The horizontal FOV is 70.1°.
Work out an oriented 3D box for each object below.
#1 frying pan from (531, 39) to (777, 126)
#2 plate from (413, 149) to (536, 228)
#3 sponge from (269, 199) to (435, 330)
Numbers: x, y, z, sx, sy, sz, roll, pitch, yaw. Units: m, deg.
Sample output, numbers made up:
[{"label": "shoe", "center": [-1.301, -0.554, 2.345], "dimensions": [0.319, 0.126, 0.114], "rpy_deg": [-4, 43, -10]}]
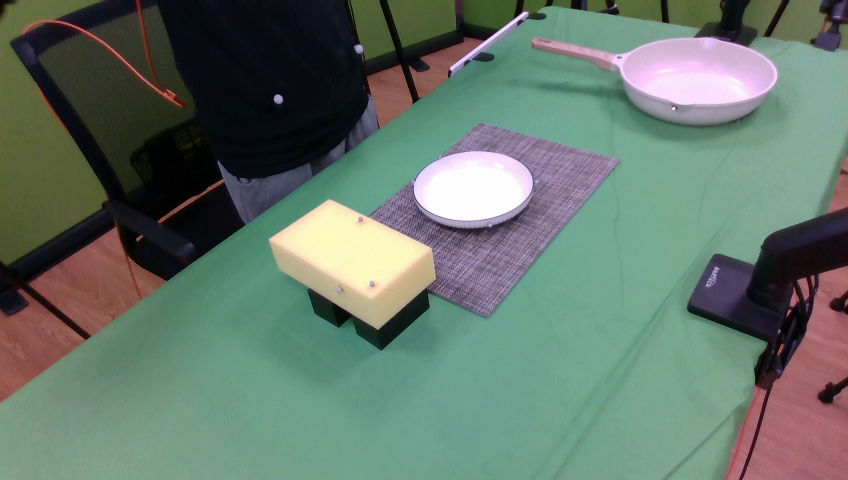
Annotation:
[{"label": "frying pan", "center": [0.452, -0.354, 1.254], "dimensions": [0.485, 0.103, 0.307], "rpy_deg": [22, 47, 19]}, {"label": "plate", "center": [0.086, -0.085, 1.038], "dimensions": [0.207, 0.039, 0.206], "rpy_deg": [-4, 40, 4]}, {"label": "sponge", "center": [-0.102, 0.027, 0.846], "dimensions": [0.205, 0.061, 0.118], "rpy_deg": [25, 50, 32]}]
